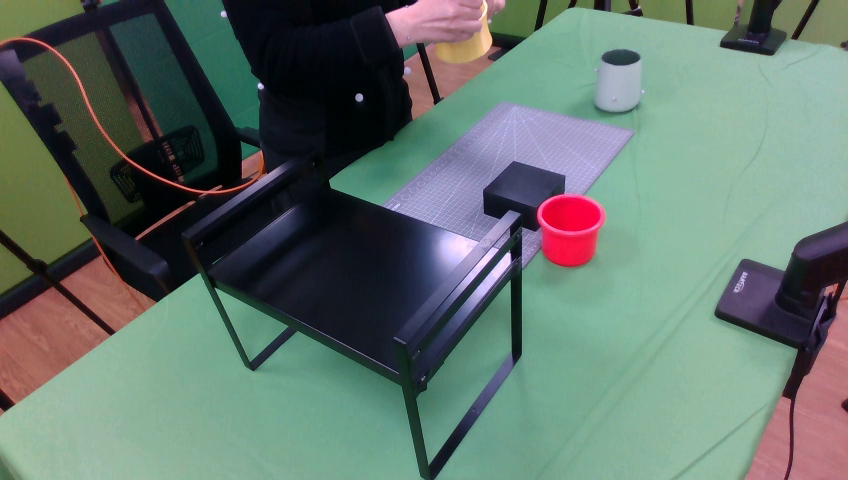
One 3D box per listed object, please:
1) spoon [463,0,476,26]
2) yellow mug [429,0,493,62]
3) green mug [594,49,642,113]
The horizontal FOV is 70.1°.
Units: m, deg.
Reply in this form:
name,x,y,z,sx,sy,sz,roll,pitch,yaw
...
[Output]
name,x,y,z,sx,sy,sz,roll,pitch,yaw
spoon,0.072,-0.355,0.941,0.042,0.194,0.021,-23,80,-7
yellow mug,0.071,-0.369,1.027,0.099,0.064,0.131,18,58,25
green mug,0.397,-0.333,1.240,0.092,0.105,0.125,-3,41,7
